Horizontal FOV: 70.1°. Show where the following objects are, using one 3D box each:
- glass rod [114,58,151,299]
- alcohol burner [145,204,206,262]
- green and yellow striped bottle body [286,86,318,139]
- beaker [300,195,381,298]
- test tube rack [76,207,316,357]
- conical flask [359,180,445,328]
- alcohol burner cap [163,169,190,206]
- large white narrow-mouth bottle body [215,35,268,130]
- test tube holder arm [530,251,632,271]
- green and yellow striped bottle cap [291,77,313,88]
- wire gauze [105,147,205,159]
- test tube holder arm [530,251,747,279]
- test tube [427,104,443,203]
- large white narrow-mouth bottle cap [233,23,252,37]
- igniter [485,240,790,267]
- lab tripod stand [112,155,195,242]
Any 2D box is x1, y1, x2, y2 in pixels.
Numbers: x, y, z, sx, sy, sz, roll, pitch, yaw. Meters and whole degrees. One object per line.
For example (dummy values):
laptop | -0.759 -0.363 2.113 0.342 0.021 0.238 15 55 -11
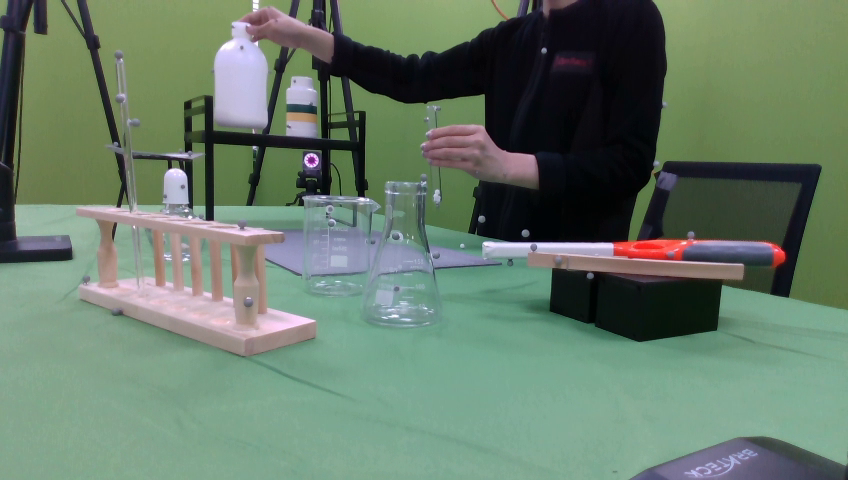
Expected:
glass rod | -0.236 -0.044 0.492 0.008 0.199 0.008 0 15 0
alcohol burner | -0.321 -0.032 0.788 0.078 0.119 0.078 1 7 0
green and yellow striped bottle body | -0.251 -0.270 1.245 0.063 0.119 0.063 2 7 0
beaker | -0.087 0.006 0.626 0.084 0.100 0.074 1 8 -17
test tube rack | -0.196 0.023 0.500 0.241 0.085 0.067 7 9 36
conical flask | -0.017 0.010 0.522 0.075 0.122 0.075 2 7 0
alcohol burner cap | -0.320 -0.067 0.782 0.034 0.048 0.034 1 7 0
large white narrow-mouth bottle body | -0.350 -0.313 1.164 0.102 0.194 0.101 4 11 0
test tube holder arm | 0.139 0.019 0.538 0.087 0.015 0.010 3 7 13
green and yellow striped bottle cap | -0.250 -0.321 1.238 0.045 0.020 0.045 3 6 0
wire gauze | -0.407 -0.131 0.928 0.125 0.011 0.121 2 6 -11
test tube holder arm | 0.182 0.022 0.523 0.178 0.015 0.013 3 7 12
test tube | 0.017 -0.131 0.925 0.017 0.150 0.017 -4 9 1
large white narrow-mouth bottle cap | -0.344 -0.397 1.146 0.038 0.024 0.037 4 11 0
igniter | 0.197 0.012 0.585 0.276 0.025 0.057 1 5 12
lab tripod stand | -0.405 -0.064 0.931 0.148 0.131 0.148 1 6 0
